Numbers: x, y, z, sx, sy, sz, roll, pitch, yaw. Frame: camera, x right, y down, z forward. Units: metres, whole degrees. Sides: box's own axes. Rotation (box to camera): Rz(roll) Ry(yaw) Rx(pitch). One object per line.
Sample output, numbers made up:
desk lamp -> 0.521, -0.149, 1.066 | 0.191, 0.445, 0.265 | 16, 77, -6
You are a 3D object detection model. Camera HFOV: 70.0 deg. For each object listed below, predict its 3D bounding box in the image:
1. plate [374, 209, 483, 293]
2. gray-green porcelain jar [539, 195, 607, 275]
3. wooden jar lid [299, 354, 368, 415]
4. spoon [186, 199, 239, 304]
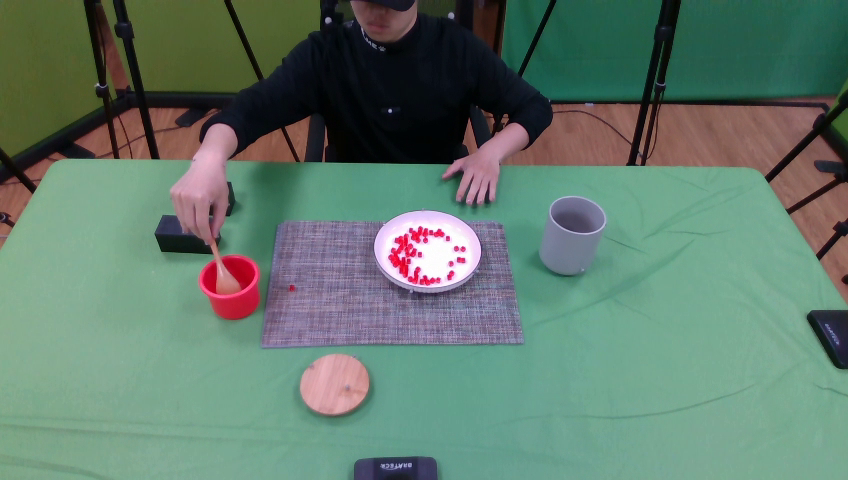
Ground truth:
plate -> 0.008, 0.024, 1.158 | 0.208, 0.039, 0.206 | 2, 46, -2
gray-green porcelain jar -> 0.278, -0.004, 1.148 | 0.106, 0.127, 0.105 | 2, 46, -2
wooden jar lid -> -0.143, 0.232, 0.964 | 0.108, 0.021, 0.107 | 2, 45, -2
spoon -> -0.359, 0.020, 1.027 | 0.021, 0.194, 0.041 | -26, 13, 0
